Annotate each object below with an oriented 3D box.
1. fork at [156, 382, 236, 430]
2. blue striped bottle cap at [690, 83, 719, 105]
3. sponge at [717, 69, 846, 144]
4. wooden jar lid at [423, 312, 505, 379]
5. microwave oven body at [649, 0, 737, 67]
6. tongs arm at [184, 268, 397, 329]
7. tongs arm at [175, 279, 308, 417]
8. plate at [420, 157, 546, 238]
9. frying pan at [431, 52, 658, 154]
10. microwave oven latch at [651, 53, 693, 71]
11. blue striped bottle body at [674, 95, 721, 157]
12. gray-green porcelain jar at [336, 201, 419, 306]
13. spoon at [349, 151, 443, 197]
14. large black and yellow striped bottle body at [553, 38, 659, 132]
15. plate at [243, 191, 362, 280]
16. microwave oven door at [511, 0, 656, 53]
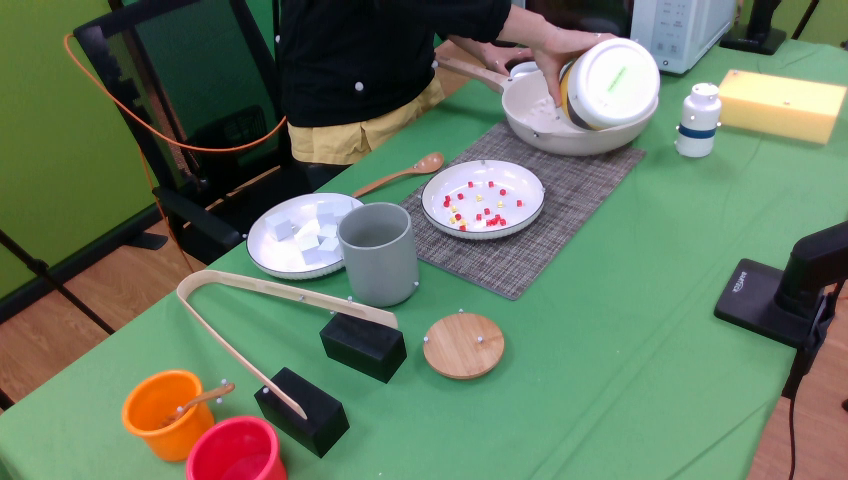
[{"bbox_3d":[-0.262,0.189,0.690,0.018,0.206,0.028,48,43,-7],"label":"fork"},{"bbox_3d":[0.481,-0.251,1.038,0.044,0.021,0.044,-5,40,4],"label":"blue striped bottle cap"},{"bbox_3d":[0.663,-0.256,1.141,0.205,0.061,0.118,19,47,27],"label":"sponge"},{"bbox_3d":[0.053,0.142,0.800,0.108,0.021,0.108,-5,39,4],"label":"wooden jar lid"},{"bbox_3d":[0.475,-0.602,1.411,0.438,0.261,0.327,23,50,32],"label":"microwave oven body"},{"bbox_3d":[-0.203,0.084,0.847,0.382,0.027,0.051,11,44,35],"label":"tongs arm"},{"bbox_3d":[-0.255,0.132,0.800,0.028,0.028,0.384,-40,40,-23],"label":"tongs arm"},{"bbox_3d":[0.099,-0.067,1.017,0.209,0.038,0.208,-4,40,4],"label":"plate"},{"bbox_3d":[0.216,-0.302,1.223,0.484,0.103,0.308,29,49,24],"label":"frying pan"},{"bbox_3d":[0.531,-0.386,1.301,0.078,0.029,0.030,26,51,33],"label":"microwave oven latch"},{"bbox_3d":[0.486,-0.213,1.072,0.063,0.121,0.063,-4,41,4],"label":"blue striped bottle body"},{"bbox_3d":[-0.064,0.024,0.872,0.106,0.127,0.105,-4,41,4],"label":"gray-green porcelain jar"},{"bbox_3d":[-0.051,-0.123,1.120,0.194,0.022,0.041,-22,59,-18],"label":"spoon"},{"bbox_3d":[0.291,-0.249,1.005,0.131,0.131,0.183,-10,6,-3],"label":"large black and yellow striped bottle body"},{"bbox_3d":[-0.187,-0.005,0.992,0.207,0.039,0.206,-4,40,4],"label":"plate"},{"bbox_3d":[0.351,-0.539,1.349,0.353,0.245,0.039,24,50,31],"label":"microwave oven door"}]
